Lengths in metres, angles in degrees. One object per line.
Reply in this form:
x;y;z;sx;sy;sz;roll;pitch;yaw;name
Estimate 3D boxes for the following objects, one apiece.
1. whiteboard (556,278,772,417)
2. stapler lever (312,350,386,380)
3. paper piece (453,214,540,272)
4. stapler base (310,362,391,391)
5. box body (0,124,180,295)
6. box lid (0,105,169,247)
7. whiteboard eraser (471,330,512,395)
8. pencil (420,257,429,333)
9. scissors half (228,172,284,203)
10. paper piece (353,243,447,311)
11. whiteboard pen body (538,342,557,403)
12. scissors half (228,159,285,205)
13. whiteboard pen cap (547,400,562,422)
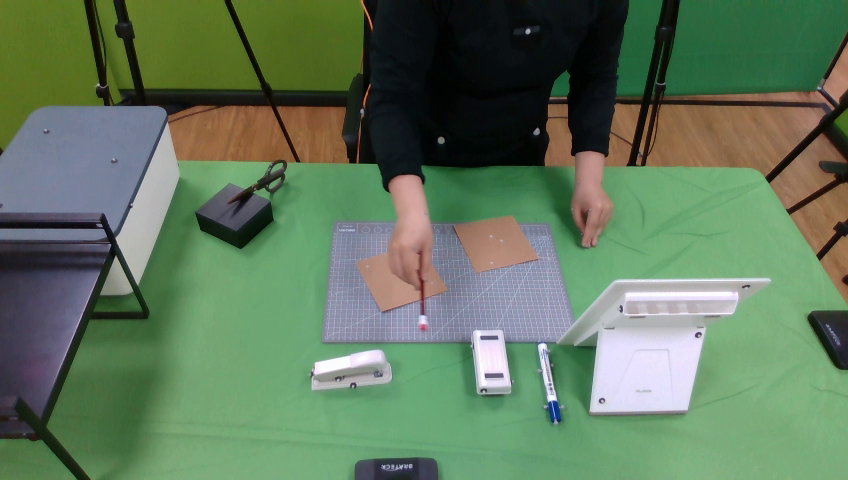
0.347;0.174;0.903;0.217;0.306;0.143;1;65;-4;whiteboard
-0.120;0.199;0.963;0.118;0.040;0.026;-4;44;-8;stapler lever
0.143;0.002;1.212;0.135;0.004;0.135;-11;48;-15;paper piece
-0.119;0.215;0.980;0.131;0.024;0.041;-5;44;-7;stapler base
-0.628;-0.075;1.122;0.254;0.161;0.361;1;46;-4;box body
-0.624;-0.125;1.067;0.263;0.015;0.369;0;46;-3;box lid
0.110;0.202;0.998;0.055;0.042;0.112;1;46;-5;whiteboard eraser
0.000;0.084;0.992;0.012;0.012;0.193;1;34;-3;pencil
-0.339;-0.101;1.229;0.013;0.040;0.175;25;29;13;scissors half
-0.046;0.066;1.137;0.136;0.009;0.137;-14;47;-22;paper piece
0.205;0.228;0.997;0.017;0.017;0.140;1;46;-3;whiteboard pen body
-0.334;-0.116;1.217;0.013;0.040;0.175;29;46;10;scissors half
0.205;0.269;0.956;0.018;0.018;0.033;-1;48;-5;whiteboard pen cap
